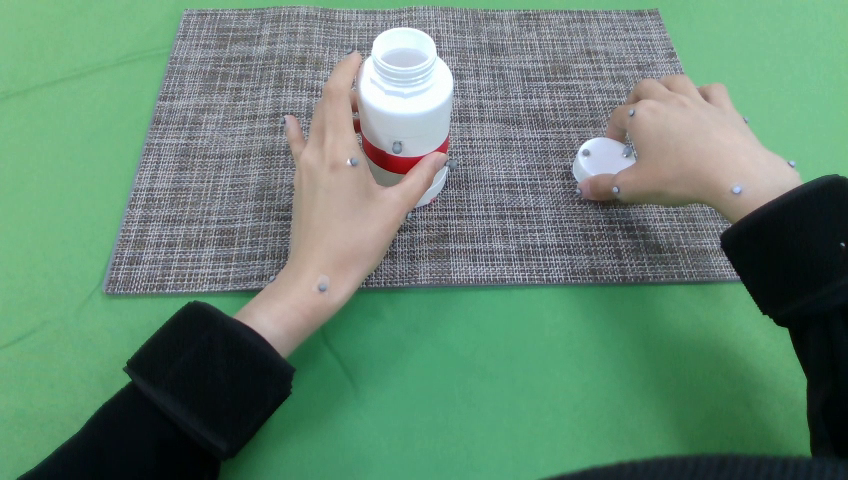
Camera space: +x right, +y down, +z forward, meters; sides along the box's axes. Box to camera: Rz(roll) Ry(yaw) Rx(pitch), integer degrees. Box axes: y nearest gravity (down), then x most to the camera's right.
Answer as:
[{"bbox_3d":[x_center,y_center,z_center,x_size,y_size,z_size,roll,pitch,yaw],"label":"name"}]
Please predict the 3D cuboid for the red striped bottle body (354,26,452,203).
[{"bbox_3d":[-0.013,-0.084,0.412,0.063,0.120,0.062,0,57,0],"label":"red striped bottle body"}]

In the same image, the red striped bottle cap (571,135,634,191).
[{"bbox_3d":[0.135,-0.059,0.458,0.044,0.018,0.044,2,55,-2],"label":"red striped bottle cap"}]
